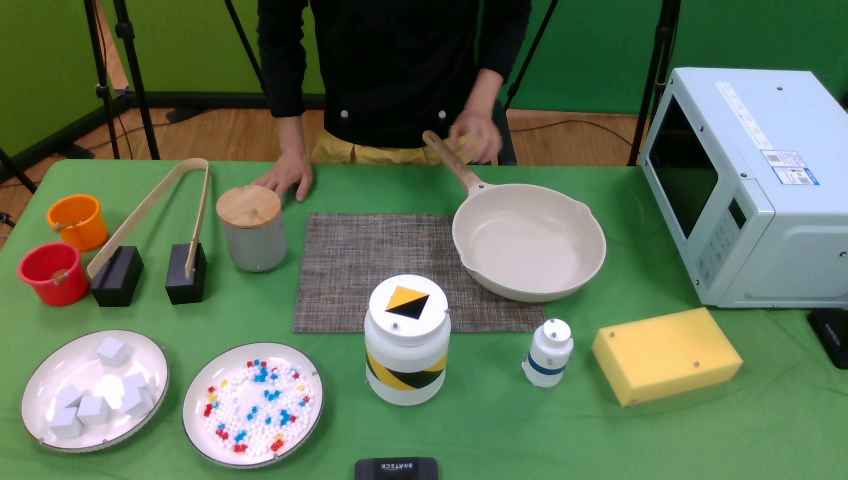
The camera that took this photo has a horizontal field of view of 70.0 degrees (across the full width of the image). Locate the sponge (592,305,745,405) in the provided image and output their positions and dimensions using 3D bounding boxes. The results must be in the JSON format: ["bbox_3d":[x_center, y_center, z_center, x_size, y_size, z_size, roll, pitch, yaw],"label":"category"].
[{"bbox_3d":[0.405,0.190,1.015,0.207,0.061,0.117,-10,48,-12],"label":"sponge"}]

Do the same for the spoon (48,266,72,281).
[{"bbox_3d":[-0.609,0.057,1.010,0.041,0.022,0.193,-32,13,-27],"label":"spoon"}]

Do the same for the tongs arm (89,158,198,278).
[{"bbox_3d":[-0.530,-0.057,1.164,0.028,0.028,0.385,1,36,8],"label":"tongs arm"}]

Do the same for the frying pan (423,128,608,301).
[{"bbox_3d":[0.142,-0.069,1.208,0.307,0.103,0.485,-23,60,-25],"label":"frying pan"}]

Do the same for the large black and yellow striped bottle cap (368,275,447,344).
[{"bbox_3d":[-0.024,0.098,0.871,0.115,0.019,0.114,2,45,-2],"label":"large black and yellow striped bottle cap"}]

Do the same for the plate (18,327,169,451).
[{"bbox_3d":[-0.498,0.229,0.929,0.208,0.039,0.206,2,47,-2],"label":"plate"}]

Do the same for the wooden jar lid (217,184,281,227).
[{"bbox_3d":[-0.307,-0.057,1.068,0.108,0.021,0.107,5,44,-4],"label":"wooden jar lid"}]

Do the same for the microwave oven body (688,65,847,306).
[{"bbox_3d":[0.669,-0.111,1.176,0.326,0.261,0.439,0,46,-3],"label":"microwave oven body"}]

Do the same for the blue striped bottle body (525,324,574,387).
[{"bbox_3d":[0.202,0.179,0.970,0.063,0.121,0.062,2,46,-2],"label":"blue striped bottle body"}]

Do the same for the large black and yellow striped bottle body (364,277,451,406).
[{"bbox_3d":[-0.026,0.155,0.933,0.131,0.185,0.130,2,47,-2],"label":"large black and yellow striped bottle body"}]

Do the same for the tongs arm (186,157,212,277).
[{"bbox_3d":[-0.445,-0.058,1.168,0.051,0.026,0.382,-5,37,-6],"label":"tongs arm"}]

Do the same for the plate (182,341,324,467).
[{"bbox_3d":[-0.257,0.250,0.927,0.209,0.038,0.208,3,46,-2],"label":"plate"}]

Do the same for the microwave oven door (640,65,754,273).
[{"bbox_3d":[0.523,-0.147,1.193,0.039,0.245,0.353,0,47,-3],"label":"microwave oven door"}]

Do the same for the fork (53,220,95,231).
[{"bbox_3d":[-0.627,-0.027,1.086,0.028,0.018,0.207,0,2,-15],"label":"fork"}]

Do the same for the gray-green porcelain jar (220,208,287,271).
[{"bbox_3d":[-0.310,-0.014,1.113,0.106,0.127,0.105,2,46,-2],"label":"gray-green porcelain jar"}]

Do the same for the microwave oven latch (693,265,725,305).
[{"bbox_3d":[0.523,0.081,1.116,0.030,0.029,0.078,2,46,-1],"label":"microwave oven latch"}]

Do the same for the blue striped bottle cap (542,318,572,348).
[{"bbox_3d":[0.205,0.143,0.933,0.044,0.021,0.044,0,47,0],"label":"blue striped bottle cap"}]
